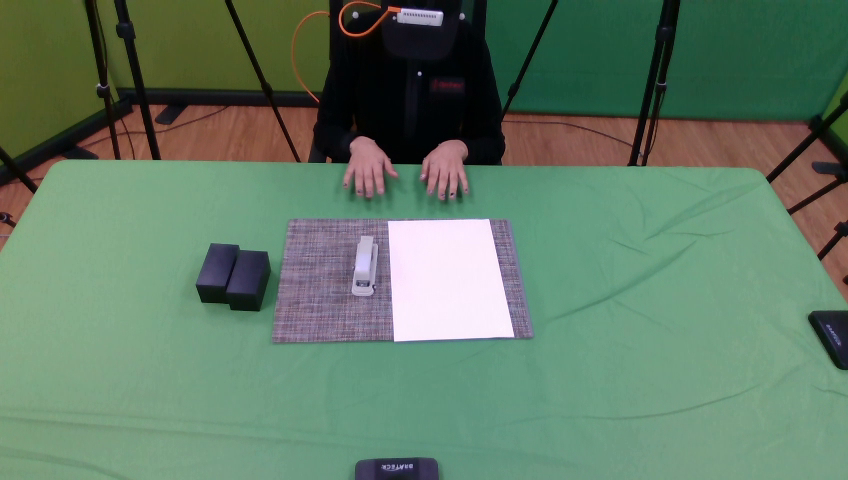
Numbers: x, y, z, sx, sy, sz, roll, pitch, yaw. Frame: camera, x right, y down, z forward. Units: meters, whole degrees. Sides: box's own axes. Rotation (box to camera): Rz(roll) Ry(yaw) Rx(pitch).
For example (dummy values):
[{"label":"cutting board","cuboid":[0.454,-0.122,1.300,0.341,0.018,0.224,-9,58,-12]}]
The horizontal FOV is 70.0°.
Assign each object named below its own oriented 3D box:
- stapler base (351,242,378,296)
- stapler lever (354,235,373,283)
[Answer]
[{"label":"stapler base","cuboid":[-0.112,0.047,1.139,0.041,0.024,0.130,5,45,-4]},{"label":"stapler lever","cuboid":[-0.110,0.029,1.122,0.027,0.040,0.117,5,46,-3]}]
